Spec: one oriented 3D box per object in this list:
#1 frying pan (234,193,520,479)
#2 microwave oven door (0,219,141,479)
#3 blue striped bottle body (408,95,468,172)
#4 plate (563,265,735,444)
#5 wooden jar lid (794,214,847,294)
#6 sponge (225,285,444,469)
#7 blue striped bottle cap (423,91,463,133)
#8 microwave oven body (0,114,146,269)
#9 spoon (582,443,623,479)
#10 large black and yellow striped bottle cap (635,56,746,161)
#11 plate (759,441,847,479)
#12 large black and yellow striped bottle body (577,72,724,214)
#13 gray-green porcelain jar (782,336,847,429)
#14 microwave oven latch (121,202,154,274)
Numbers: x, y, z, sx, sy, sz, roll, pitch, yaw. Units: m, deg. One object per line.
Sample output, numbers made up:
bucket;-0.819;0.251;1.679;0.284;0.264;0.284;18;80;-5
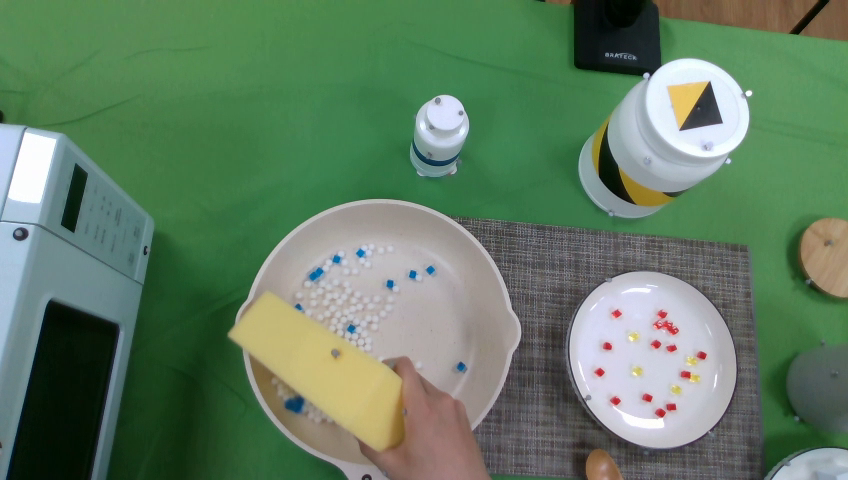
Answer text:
frying pan;-0.054;0.190;0.642;0.307;0.103;0.484;4;68;-3
microwave oven door;-0.333;0.182;0.523;0.039;0.244;0.354;5;75;-5
blue striped bottle body;0.016;-0.131;0.724;0.063;0.121;0.063;2;76;-6
plate;0.265;0.134;0.726;0.209;0.038;0.208;2;76;-6
wooden jar lid;0.538;0.019;0.800;0.108;0.021;0.108;1;77;-6
sponge;-0.092;0.129;0.596;0.205;0.119;0.061;21;66;43
blue striped bottle cap;0.021;-0.143;0.674;0.044;0.021;0.044;2;73;-5
microwave oven body;-0.474;0.128;0.525;0.326;0.261;0.439;6;76;-6
spoon;0.248;0.308;0.690;0.193;0.022;0.041;46;58;4
large black and yellow striped bottle cap;0.280;-0.139;0.636;0.115;0.019;0.114;2;74;-6
plate;0.473;0.340;0.704;0.208;0.039;0.206;2;76;-6
large black and yellow striped bottle body;0.272;-0.117;0.718;0.131;0.184;0.130;2;75;-6
gray-green porcelain jar;0.496;0.165;0.704;0.106;0.127;0.105;2;75;-6
microwave oven latch;-0.324;-0.003;0.675;0.030;0.029;0.079;8;76;-5
